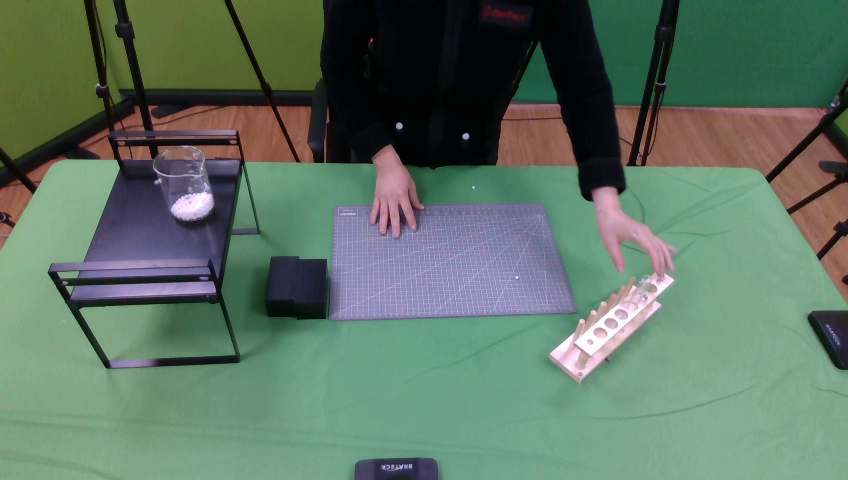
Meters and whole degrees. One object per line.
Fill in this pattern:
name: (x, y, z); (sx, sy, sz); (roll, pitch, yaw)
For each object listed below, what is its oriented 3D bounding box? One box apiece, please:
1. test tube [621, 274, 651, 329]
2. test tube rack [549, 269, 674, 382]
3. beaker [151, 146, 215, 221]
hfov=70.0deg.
test tube: (0.348, 0.106, 1.007); (0.017, 0.151, 0.017); (1, 51, -1)
test tube rack: (0.325, 0.134, 1.047); (0.242, 0.085, 0.066); (-32, 56, -29)
beaker: (-0.370, -0.084, 0.948); (0.083, 0.101, 0.074); (27, 50, 19)
